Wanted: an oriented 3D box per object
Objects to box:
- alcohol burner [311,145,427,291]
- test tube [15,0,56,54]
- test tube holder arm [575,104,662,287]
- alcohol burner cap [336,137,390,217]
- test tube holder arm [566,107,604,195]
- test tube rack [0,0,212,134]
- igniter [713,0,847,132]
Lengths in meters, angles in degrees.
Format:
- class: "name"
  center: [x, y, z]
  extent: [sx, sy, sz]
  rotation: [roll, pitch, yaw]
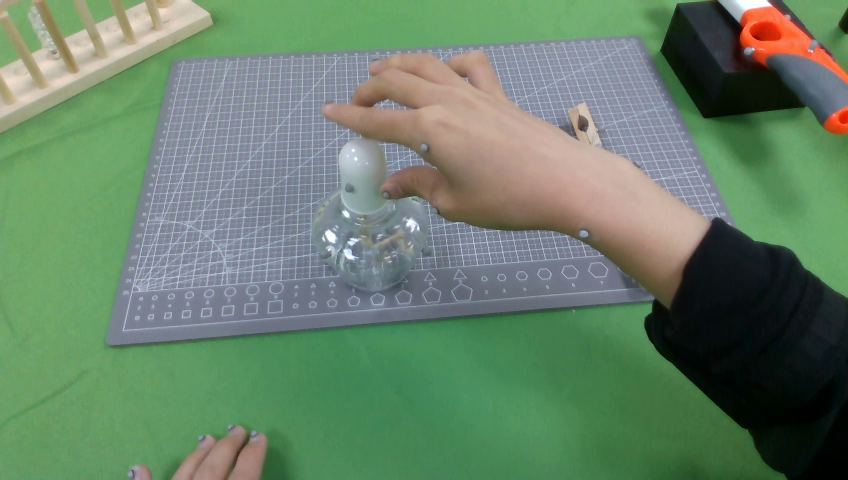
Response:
- class: "alcohol burner"
  center: [-0.037, -0.019, 0.391]
  extent: [0.078, 0.120, 0.077]
  rotation: [0, 55, 1]
- class: "test tube"
  center: [-0.340, -0.221, 0.496]
  extent: [0.017, 0.151, 0.017]
  rotation: [1, 49, 0]
- class: "test tube holder arm"
  center: [0.146, -0.041, 0.467]
  extent: [0.013, 0.015, 0.176]
  rotation: [-30, 50, 23]
- class: "alcohol burner cap"
  center: [-0.038, -0.040, 0.362]
  extent: [0.034, 0.048, 0.033]
  rotation: [0, 55, 0]
- class: "test tube holder arm"
  center: [0.134, -0.074, 0.496]
  extent: [0.010, 0.015, 0.087]
  rotation: [-29, 51, 24]
- class: "test tube rack"
  center: [-0.318, -0.187, 0.533]
  extent: [0.066, 0.086, 0.242]
  rotation: [37, 61, 24]
- class: "igniter"
  center: [0.286, -0.186, 0.519]
  extent: [0.057, 0.025, 0.273]
  rotation: [-10, 52, -5]
